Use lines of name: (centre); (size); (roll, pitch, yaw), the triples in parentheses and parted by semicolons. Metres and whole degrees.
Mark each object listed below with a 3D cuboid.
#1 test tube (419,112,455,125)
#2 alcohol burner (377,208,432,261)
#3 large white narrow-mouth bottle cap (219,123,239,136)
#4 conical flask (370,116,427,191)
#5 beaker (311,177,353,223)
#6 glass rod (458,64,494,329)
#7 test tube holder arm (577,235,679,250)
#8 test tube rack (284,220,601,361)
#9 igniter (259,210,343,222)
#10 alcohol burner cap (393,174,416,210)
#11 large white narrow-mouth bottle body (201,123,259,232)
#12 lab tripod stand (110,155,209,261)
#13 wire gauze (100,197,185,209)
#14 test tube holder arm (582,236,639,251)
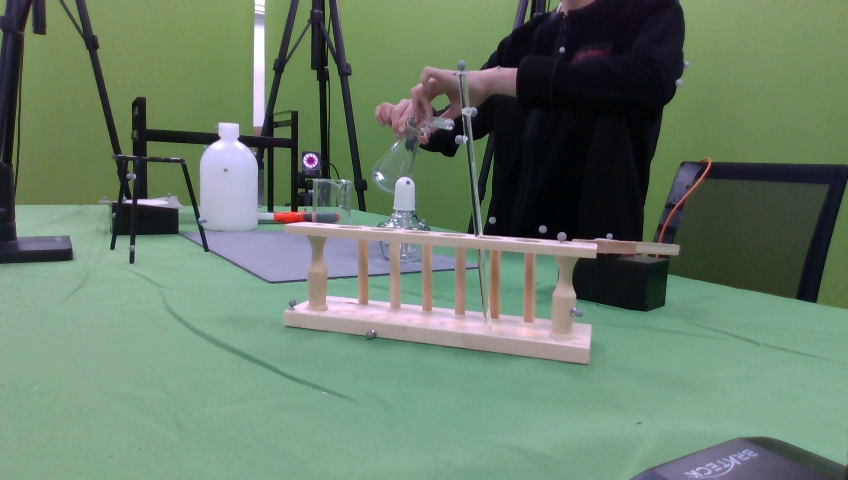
test tube: (0.018, -0.178, 0.884); (0.017, 0.017, 0.149); (0, 12, -15)
alcohol burner: (-0.027, -0.031, 0.838); (0.078, 0.119, 0.078); (0, 6, 0)
large white narrow-mouth bottle cap: (-0.356, -0.201, 1.104); (0.038, 0.024, 0.037); (2, 8, 0)
conical flask: (-0.035, -0.147, 1.013); (0.075, 0.121, 0.075); (21, 34, -15)
beaker: (-0.167, -0.064, 1.106); (0.074, 0.100, 0.083); (-2, 9, -27)
glass rod: (0.039, -0.029, 0.449); (0.008, 0.199, 0.008); (-7, 9, 1)
test tube holder arm: (0.227, 0.004, 0.661); (0.179, 0.015, 0.013); (1, 13, -38)
test tube rack: (0.013, 0.032, 0.482); (0.242, 0.085, 0.067); (4, 7, 16)
igniter: (-0.303, -0.049, 1.258); (0.278, 0.025, 0.057); (-2, -2, -28)
alcohol burner cap: (-0.025, -0.067, 0.833); (0.034, 0.048, 0.034); (4, 12, -1)
large white narrow-mouth bottle body: (-0.358, -0.116, 1.116); (0.102, 0.194, 0.102); (2, 8, 0)
lab tripod stand: (-0.361, -0.046, 0.806); (0.148, 0.131, 0.148); (2, 5, 0)
wire gauze: (-0.469, -0.062, 1.008); (0.126, 0.011, 0.121); (-2, 8, -25)
test tube holder arm: (0.194, 0.004, 0.629); (0.088, 0.015, 0.010); (1, 13, -38)
